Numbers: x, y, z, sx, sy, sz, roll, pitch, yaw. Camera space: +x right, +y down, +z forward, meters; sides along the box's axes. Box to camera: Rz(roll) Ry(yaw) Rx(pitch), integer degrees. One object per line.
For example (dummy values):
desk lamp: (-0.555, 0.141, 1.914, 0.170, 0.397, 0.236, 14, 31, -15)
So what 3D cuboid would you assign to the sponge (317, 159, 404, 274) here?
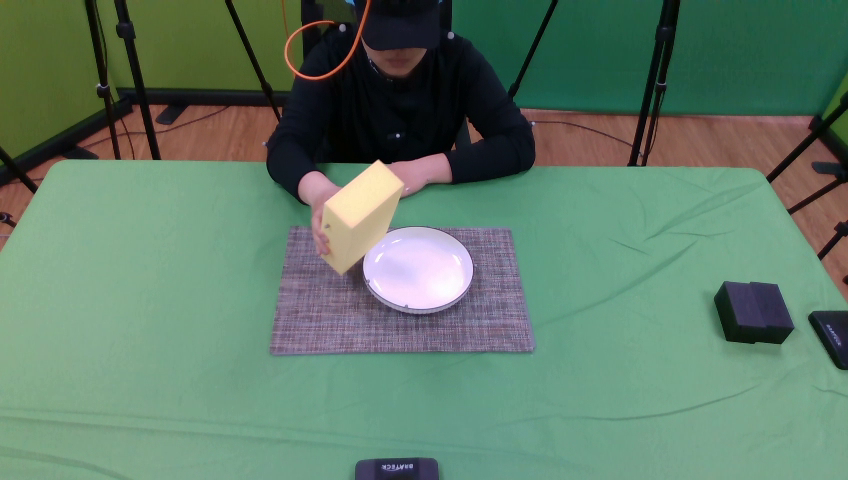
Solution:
sponge: (-0.111, -0.033, 1.016, 0.061, 0.207, 0.118, 43, 64, 7)

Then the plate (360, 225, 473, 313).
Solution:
plate: (-0.014, 0.057, 1.127, 0.208, 0.039, 0.206, 2, 46, -2)
